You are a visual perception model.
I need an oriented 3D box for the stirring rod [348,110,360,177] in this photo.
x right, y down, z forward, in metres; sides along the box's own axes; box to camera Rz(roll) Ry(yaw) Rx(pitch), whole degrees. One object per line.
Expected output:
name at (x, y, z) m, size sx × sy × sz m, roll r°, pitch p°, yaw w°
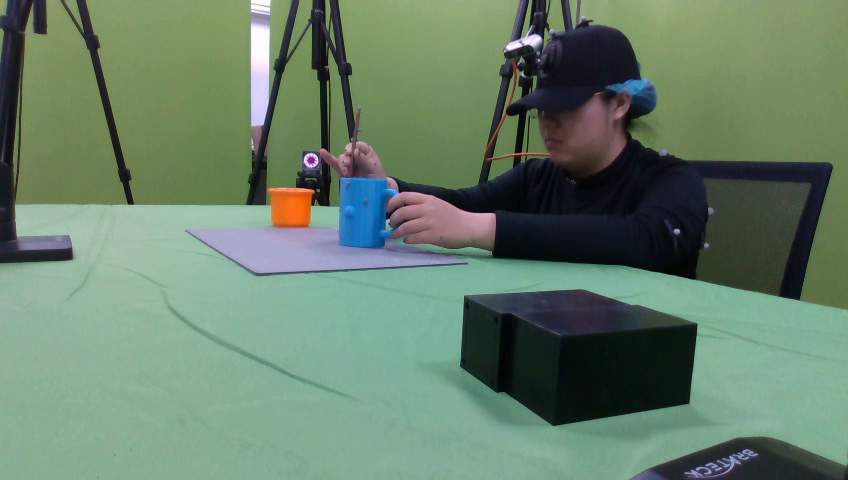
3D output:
stirring rod at (-0.118, -0.126, 0.983) m, size 0.006 × 0.176 × 0.014 m, roll 7°, pitch -4°, yaw -2°

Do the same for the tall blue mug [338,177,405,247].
tall blue mug at (-0.083, -0.046, 0.977) m, size 0.107 × 0.108 × 0.078 m, roll 3°, pitch 6°, yaw -1°
